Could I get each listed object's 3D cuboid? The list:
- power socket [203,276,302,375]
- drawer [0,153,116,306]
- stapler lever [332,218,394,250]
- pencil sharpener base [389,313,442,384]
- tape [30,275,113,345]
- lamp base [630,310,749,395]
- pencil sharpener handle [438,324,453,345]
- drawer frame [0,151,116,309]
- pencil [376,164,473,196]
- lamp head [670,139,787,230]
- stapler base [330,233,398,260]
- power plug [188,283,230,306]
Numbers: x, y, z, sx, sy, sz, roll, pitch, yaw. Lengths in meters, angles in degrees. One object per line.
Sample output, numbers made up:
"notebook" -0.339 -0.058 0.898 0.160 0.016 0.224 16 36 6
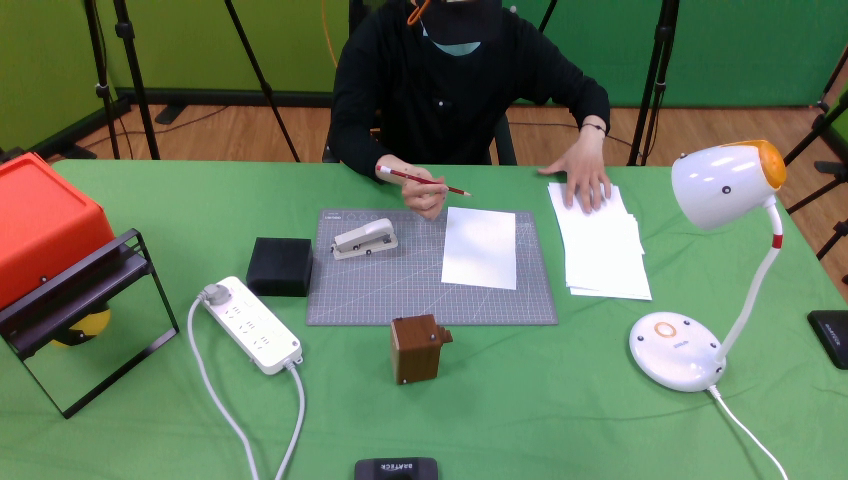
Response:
"power socket" -0.297 0.141 1.034 0.072 0.033 0.225 -34 58 -30
"drawer" -0.601 -0.015 0.880 0.193 0.073 0.211 32 53 23
"stapler lever" -0.116 -0.012 1.162 0.118 0.040 0.026 -13 47 -14
"pencil sharpener base" -0.013 0.175 0.971 0.077 0.107 0.061 -8 47 -11
"tape" -0.593 0.117 1.021 0.117 0.053 0.116 2 46 -2
"lamp base" 0.447 0.142 0.984 0.161 0.181 0.178 -24 55 -24
"pencil sharpener handle" 0.036 0.155 0.976 0.031 0.068 0.036 -8 70 -11
"drawer frame" -0.604 -0.013 0.876 0.201 0.083 0.213 31 52 23
"pencil" 0.000 -0.112 1.140 0.194 0.012 0.012 17 48 8
"lamp head" 0.415 -0.079 0.812 0.113 0.123 0.112 13 70 -37
"stapler base" -0.116 0.004 1.181 0.131 0.024 0.041 -13 47 -14
"power plug" -0.368 0.099 1.037 0.072 0.053 0.035 -24 52 -26
